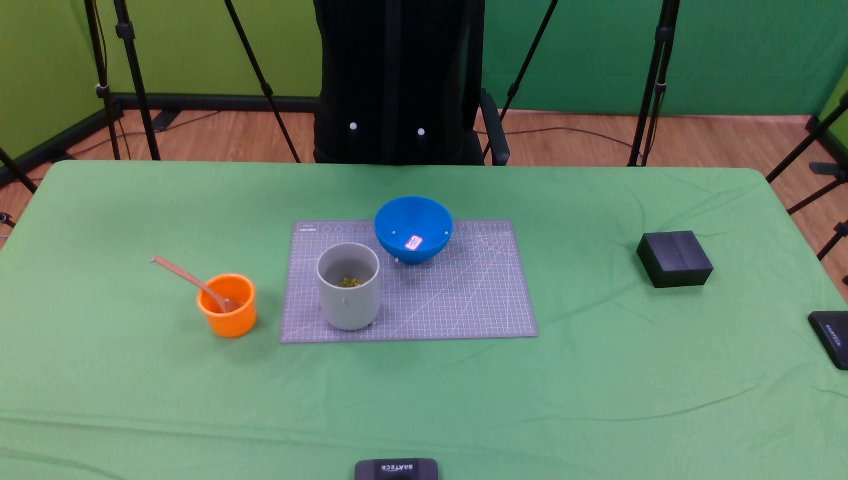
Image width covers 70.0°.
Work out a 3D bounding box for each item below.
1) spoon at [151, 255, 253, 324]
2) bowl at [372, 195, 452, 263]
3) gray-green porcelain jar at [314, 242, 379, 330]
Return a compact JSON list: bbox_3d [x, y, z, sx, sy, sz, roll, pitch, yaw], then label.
[{"bbox_3d":[-0.365,0.080,1.004,0.021,0.195,0.041,-27,32,33],"label":"spoon"},{"bbox_3d":[-0.023,-0.008,1.161,0.151,0.077,0.150,2,46,-2],"label":"bowl"},{"bbox_3d":[-0.129,0.084,1.031,0.106,0.127,0.105,2,46,-2],"label":"gray-green porcelain jar"}]
